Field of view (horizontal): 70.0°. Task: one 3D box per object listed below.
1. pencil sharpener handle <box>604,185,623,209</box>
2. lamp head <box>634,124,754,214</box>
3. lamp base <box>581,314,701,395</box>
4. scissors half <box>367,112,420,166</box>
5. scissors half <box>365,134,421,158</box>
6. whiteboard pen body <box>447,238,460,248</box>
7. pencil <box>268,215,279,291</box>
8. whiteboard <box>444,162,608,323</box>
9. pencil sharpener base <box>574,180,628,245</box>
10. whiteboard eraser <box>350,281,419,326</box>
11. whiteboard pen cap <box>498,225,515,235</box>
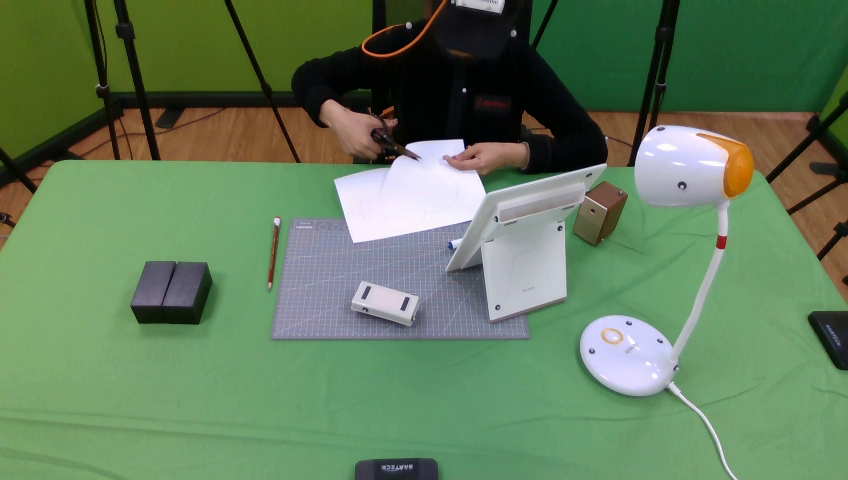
[{"bbox_3d":[0.390,-0.091,1.235,0.030,0.068,0.036,-34,69,-31],"label":"pencil sharpener handle"},{"bbox_3d":[0.351,-0.089,0.775,0.112,0.113,0.122,-30,30,-28],"label":"lamp head"},{"bbox_3d":[0.361,0.144,0.972,0.178,0.181,0.160,34,53,23],"label":"lamp base"},{"bbox_3d":[-0.066,-0.220,1.324,0.013,0.040,0.174,-30,70,-35],"label":"scissors half"},{"bbox_3d":[-0.069,-0.202,1.339,0.174,0.040,0.013,22,36,39],"label":"scissors half"},{"bbox_3d":[0.112,-0.006,1.204,0.141,0.017,0.017,-14,49,-18],"label":"whiteboard pen body"},{"bbox_3d":[-0.290,0.022,1.164,0.012,0.012,0.192,-2,48,-6],"label":"pencil"},{"bbox_3d":[0.186,0.025,1.029,0.217,0.306,0.143,-14,68,-17],"label":"whiteboard"},{"bbox_3d":[0.356,-0.056,1.217,0.076,0.107,0.061,-33,56,-31],"label":"pencil sharpener base"},{"bbox_3d":[-0.069,0.113,1.065,0.112,0.042,0.055,14,46,9],"label":"whiteboard eraser"},{"bbox_3d":[0.166,-0.019,1.222,0.033,0.018,0.018,-14,49,-19],"label":"whiteboard pen cap"}]
